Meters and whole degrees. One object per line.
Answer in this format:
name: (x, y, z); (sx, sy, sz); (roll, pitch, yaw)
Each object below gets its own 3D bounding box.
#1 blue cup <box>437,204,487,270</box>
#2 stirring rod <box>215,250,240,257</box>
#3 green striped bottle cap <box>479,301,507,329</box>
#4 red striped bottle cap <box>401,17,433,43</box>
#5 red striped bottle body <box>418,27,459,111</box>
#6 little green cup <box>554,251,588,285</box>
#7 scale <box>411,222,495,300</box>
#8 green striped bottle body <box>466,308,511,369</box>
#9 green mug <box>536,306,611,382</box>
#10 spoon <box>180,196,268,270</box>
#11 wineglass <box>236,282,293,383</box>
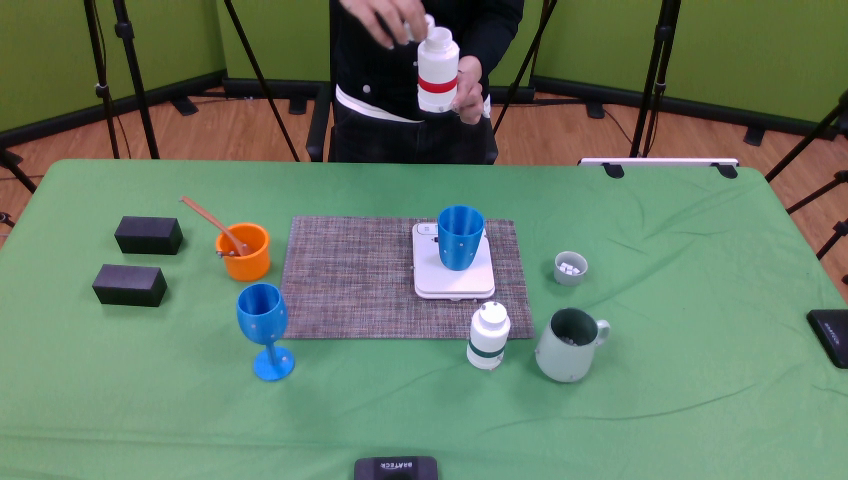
blue cup: (0.063, 0.001, 1.098); (0.093, 0.101, 0.092); (2, 43, -2)
stirring rod: (-0.339, 0.025, 1.059); (0.014, 0.176, 0.006); (16, 86, -6)
green striped bottle cap: (0.109, 0.118, 0.950); (0.044, 0.020, 0.044); (2, 47, -2)
red striped bottle cap: (-0.011, -0.302, 0.866); (0.044, 0.018, 0.044); (-5, 47, 6)
red striped bottle body: (0.022, -0.264, 0.935); (0.063, 0.120, 0.062); (0, 50, 0)
little green cup: (0.277, 0.055, 1.151); (0.061, 0.039, 0.061); (1, 46, -1)
scale: (0.052, 0.031, 1.158); (0.149, 0.032, 0.199); (1, 46, -4)
green striped bottle body: (0.106, 0.154, 0.988); (0.063, 0.120, 0.063); (2, 46, -2)
green mug: (0.250, 0.167, 0.996); (0.125, 0.105, 0.092); (-15, 48, -19)
spoon: (-0.360, -0.014, 1.094); (0.021, 0.194, 0.041); (-27, 26, 31)
wineglass: (-0.243, 0.143, 0.934); (0.074, 0.173, 0.073); (2, 46, -2)
